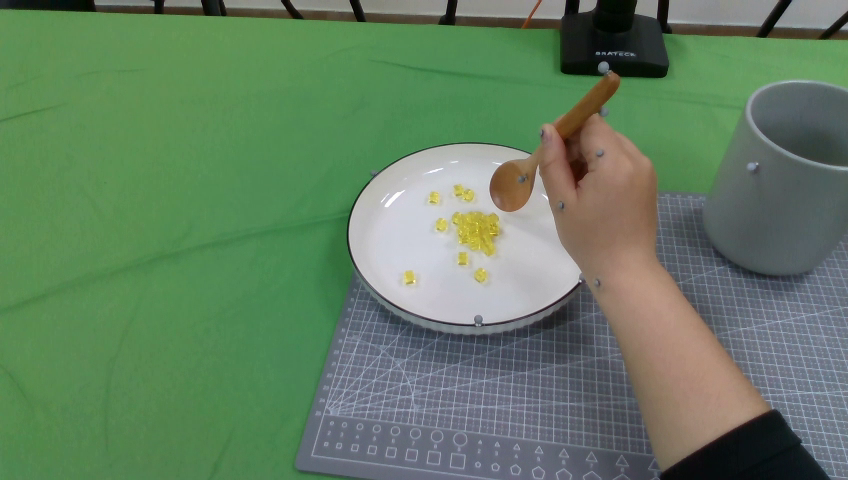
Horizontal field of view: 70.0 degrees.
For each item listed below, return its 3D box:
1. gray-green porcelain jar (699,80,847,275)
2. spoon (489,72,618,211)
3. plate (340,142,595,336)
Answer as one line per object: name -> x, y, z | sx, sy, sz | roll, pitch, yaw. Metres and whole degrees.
gray-green porcelain jar -> 0.284, -0.043, 0.477 | 0.106, 0.127, 0.105 | -1, 48, 2
spoon -> 0.088, -0.065, 0.445 | 0.022, 0.194, 0.041 | -22, 80, -17
plate -> 0.036, -0.002, 0.511 | 0.208, 0.039, 0.205 | -1, 49, 1
